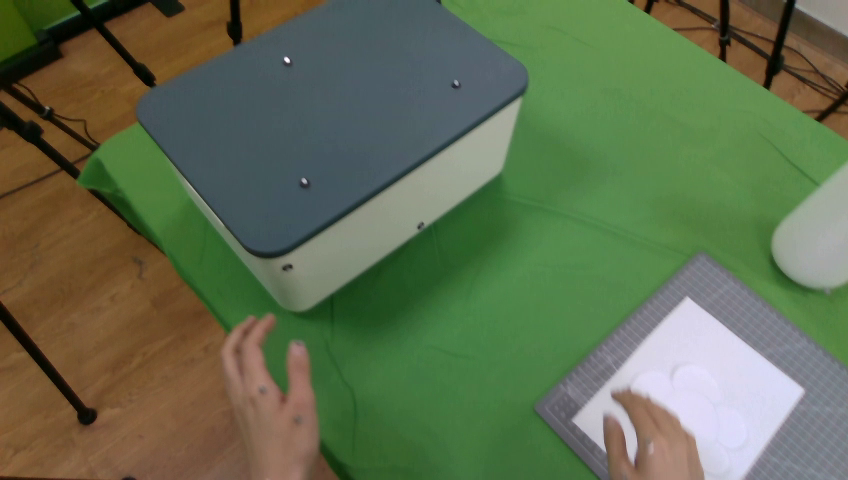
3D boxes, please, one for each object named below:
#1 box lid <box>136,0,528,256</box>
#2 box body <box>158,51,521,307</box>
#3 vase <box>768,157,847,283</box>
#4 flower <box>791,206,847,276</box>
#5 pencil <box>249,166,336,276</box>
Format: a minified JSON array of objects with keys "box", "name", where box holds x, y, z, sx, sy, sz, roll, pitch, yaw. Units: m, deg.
[{"box":[-0.092,-0.162,0.661,0.371,0.015,0.261,-37,66,-20],"name":"box lid"},{"box":[-0.095,-0.122,0.723,0.364,0.161,0.252,-36,66,-21],"name":"box body"},{"box":[0.468,-0.034,0.666,0.098,0.201,0.097,1,57,-1],"name":"vase"},{"box":[0.475,-0.089,0.603,0.043,0.364,0.038,37,47,23],"name":"flower"},{"box":[-0.163,-0.025,0.745,0.012,0.012,0.192,-33,68,-20],"name":"pencil"}]
